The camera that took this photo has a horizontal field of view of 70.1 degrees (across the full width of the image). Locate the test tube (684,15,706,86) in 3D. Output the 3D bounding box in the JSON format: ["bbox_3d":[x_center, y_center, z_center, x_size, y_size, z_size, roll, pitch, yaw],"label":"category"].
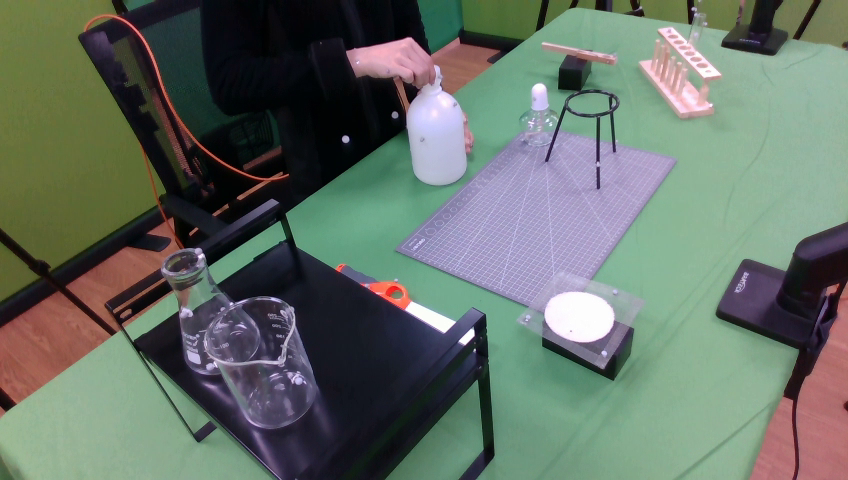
[{"bbox_3d":[0.540,-0.378,1.215,0.017,0.151,0.017,-2,44,3],"label":"test tube"}]

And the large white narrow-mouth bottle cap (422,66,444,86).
[{"bbox_3d":[0.015,-0.277,1.018,0.038,0.024,0.037,-4,40,4],"label":"large white narrow-mouth bottle cap"}]

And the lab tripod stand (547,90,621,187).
[{"bbox_3d":[0.288,-0.184,1.062,0.148,0.132,0.147,-6,41,6],"label":"lab tripod stand"}]

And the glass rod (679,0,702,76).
[{"bbox_3d":[0.543,-0.417,1.233,0.008,0.200,0.008,1,40,0],"label":"glass rod"}]

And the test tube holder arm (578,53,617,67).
[{"bbox_3d":[0.376,-0.393,1.314,0.087,0.015,0.010,25,50,32],"label":"test tube holder arm"}]

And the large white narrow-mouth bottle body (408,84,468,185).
[{"bbox_3d":[0.023,-0.201,1.082,0.102,0.195,0.101,-4,40,4],"label":"large white narrow-mouth bottle body"}]

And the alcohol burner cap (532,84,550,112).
[{"bbox_3d":[0.218,-0.269,1.133,0.034,0.048,0.033,-8,36,7],"label":"alcohol burner cap"}]

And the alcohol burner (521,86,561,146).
[{"bbox_3d":[0.223,-0.241,1.156,0.078,0.119,0.077,-5,43,5],"label":"alcohol burner"}]

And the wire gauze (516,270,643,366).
[{"bbox_3d":[0.200,0.093,0.777,0.124,0.011,0.122,23,49,32],"label":"wire gauze"}]

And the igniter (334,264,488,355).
[{"bbox_3d":[-0.030,0.095,0.871,0.274,0.025,0.057,22,59,31],"label":"igniter"}]

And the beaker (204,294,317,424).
[{"bbox_3d":[-0.137,0.110,0.536,0.083,0.101,0.074,30,53,36],"label":"beaker"}]

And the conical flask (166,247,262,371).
[{"bbox_3d":[-0.209,0.064,0.584,0.075,0.122,0.075,-5,40,4],"label":"conical flask"}]

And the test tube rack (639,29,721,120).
[{"bbox_3d":[0.527,-0.351,1.262,0.067,0.085,0.241,-8,40,1],"label":"test tube rack"}]

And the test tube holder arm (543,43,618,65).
[{"bbox_3d":[0.344,-0.412,1.340,0.177,0.015,0.013,25,49,31],"label":"test tube holder arm"}]
